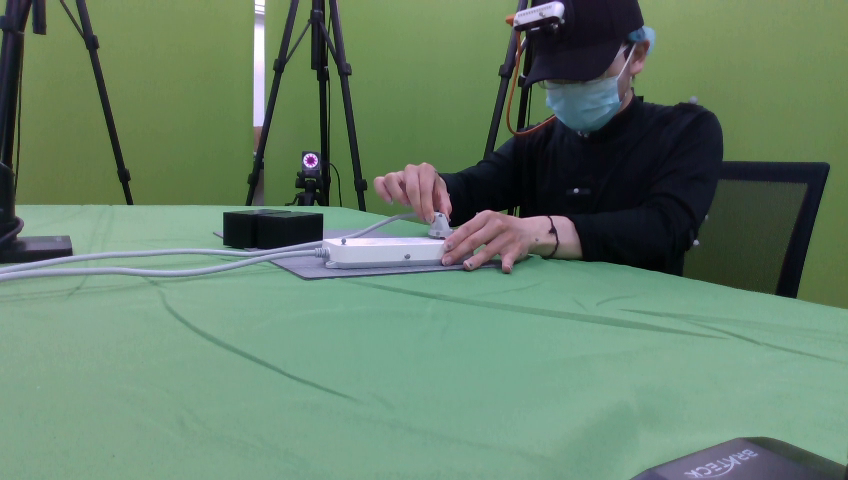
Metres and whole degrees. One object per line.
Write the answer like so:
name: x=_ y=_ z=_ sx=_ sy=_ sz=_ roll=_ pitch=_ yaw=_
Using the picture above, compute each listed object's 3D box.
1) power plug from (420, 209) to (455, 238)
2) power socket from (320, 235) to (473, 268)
power plug: x=0.019 y=-0.017 z=0.883 sx=0.035 sy=0.052 sz=0.072 roll=-1 pitch=11 yaw=-17
power socket: x=-0.033 y=0.013 z=0.824 sx=0.228 sy=0.032 sz=0.072 roll=-2 pitch=8 yaw=-30
